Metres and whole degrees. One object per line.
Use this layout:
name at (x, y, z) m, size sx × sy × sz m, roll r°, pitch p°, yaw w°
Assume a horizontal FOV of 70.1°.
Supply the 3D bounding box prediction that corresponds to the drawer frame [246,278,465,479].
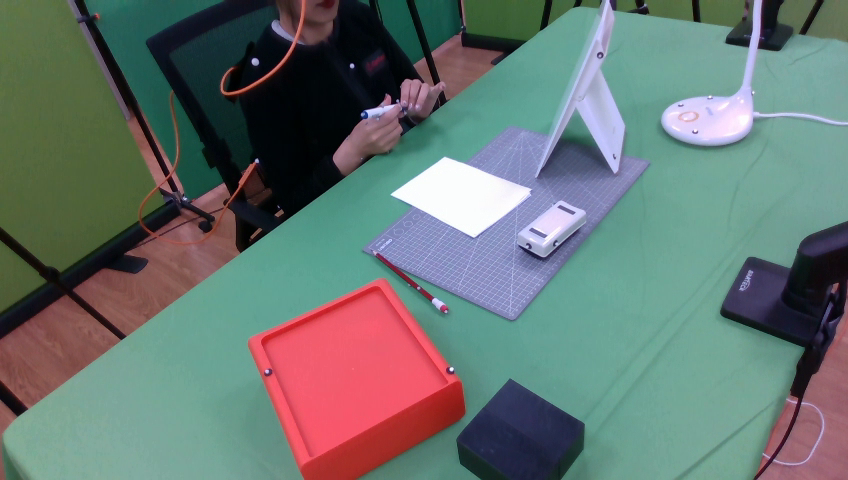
drawer frame at (-0.088, 0.168, 0.752) m, size 0.202 × 0.083 × 0.211 m, roll -24°, pitch 43°, yaw -18°

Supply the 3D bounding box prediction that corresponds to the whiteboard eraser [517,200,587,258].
whiteboard eraser at (0.201, -0.016, 0.943) m, size 0.113 × 0.042 × 0.055 m, roll -37°, pitch 46°, yaw -29°

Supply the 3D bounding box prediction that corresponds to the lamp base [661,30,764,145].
lamp base at (0.535, -0.287, 1.096) m, size 0.179 × 0.181 × 0.159 m, roll -10°, pitch 40°, yaw -4°

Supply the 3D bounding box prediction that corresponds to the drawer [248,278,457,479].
drawer at (-0.092, 0.168, 0.756) m, size 0.195 × 0.073 × 0.210 m, roll -23°, pitch 43°, yaw -18°

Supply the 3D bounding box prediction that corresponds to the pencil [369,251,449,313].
pencil at (-0.028, 0.060, 0.924) m, size 0.012 × 0.012 × 0.192 m, roll -33°, pitch 46°, yaw -25°

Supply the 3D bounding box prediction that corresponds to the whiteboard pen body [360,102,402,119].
whiteboard pen body at (-0.075, -0.253, 1.170) m, size 0.017 × 0.017 × 0.141 m, roll 18°, pitch 29°, yaw 29°

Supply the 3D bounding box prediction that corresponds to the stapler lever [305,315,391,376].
stapler lever at (-0.100, 0.136, 0.790) m, size 0.118 × 0.040 × 0.026 m, roll -23°, pitch 44°, yaw -12°

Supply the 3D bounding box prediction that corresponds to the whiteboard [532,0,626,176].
whiteboard at (0.321, -0.258, 1.049) m, size 0.144 × 0.306 × 0.217 m, roll 21°, pitch 45°, yaw 5°

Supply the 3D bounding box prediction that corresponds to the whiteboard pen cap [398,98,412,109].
whiteboard pen cap at (-0.042, -0.273, 1.214) m, size 0.033 × 0.018 × 0.018 m, roll -31°, pitch 45°, yaw -33°

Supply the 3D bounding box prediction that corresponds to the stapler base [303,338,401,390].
stapler base at (-0.096, 0.160, 0.813) m, size 0.131 × 0.024 × 0.041 m, roll -16°, pitch 42°, yaw -18°
